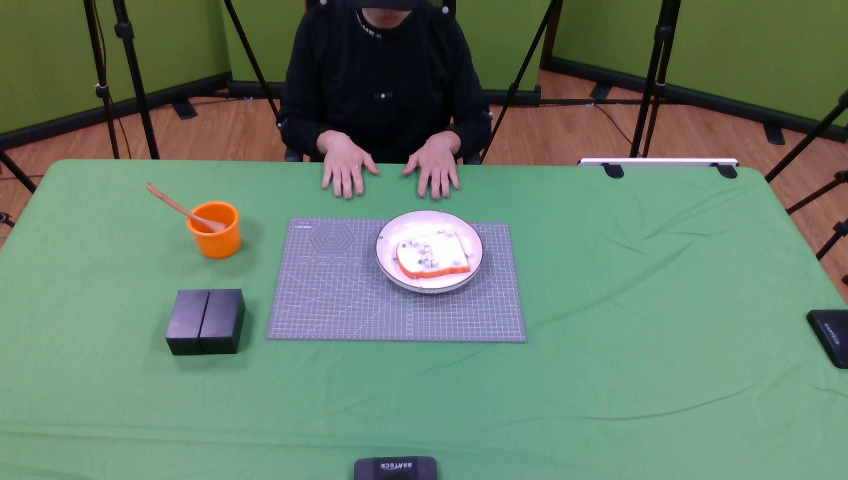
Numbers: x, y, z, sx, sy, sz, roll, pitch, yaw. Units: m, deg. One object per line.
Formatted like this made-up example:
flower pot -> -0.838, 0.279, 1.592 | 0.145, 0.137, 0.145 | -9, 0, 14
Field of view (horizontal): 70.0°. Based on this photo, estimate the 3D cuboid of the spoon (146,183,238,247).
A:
spoon -> -0.424, -0.045, 1.114 | 0.195, 0.021, 0.041 | 34, 40, -28

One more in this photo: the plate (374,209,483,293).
plate -> 0.009, 0.024, 1.160 | 0.209, 0.038, 0.208 | 2, 46, -2

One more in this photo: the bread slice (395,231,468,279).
bread slice -> 0.011, 0.030, 1.159 | 0.132, 0.019, 0.104 | -8, 47, -14
